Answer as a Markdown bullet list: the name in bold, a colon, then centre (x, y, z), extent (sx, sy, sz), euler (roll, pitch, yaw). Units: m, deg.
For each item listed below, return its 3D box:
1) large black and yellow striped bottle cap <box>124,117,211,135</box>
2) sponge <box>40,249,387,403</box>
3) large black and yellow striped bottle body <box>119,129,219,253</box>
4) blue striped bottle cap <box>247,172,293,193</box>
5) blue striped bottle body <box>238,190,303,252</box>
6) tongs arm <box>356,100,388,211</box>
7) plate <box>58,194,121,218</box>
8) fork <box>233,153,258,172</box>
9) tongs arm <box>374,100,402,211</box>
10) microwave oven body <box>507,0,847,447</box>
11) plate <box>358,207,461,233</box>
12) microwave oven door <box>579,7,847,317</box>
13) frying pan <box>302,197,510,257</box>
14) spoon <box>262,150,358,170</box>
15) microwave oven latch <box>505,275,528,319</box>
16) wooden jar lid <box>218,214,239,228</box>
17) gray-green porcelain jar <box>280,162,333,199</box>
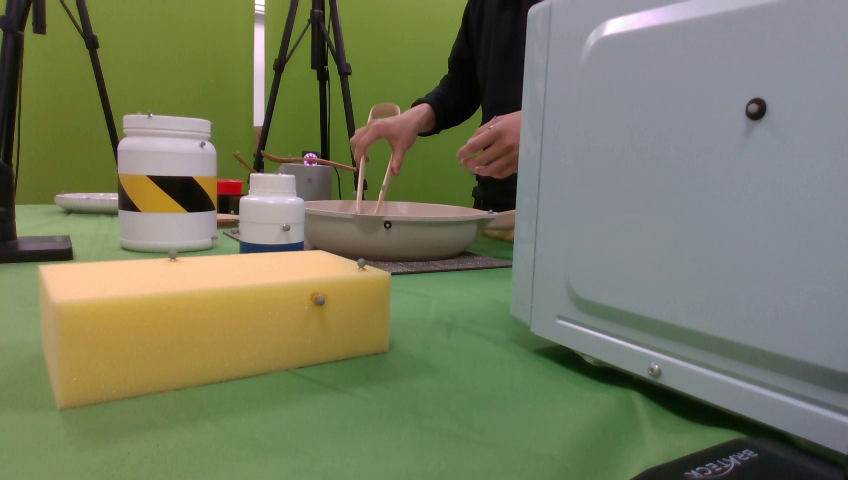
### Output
- **large black and yellow striped bottle cap**: centre (-0.366, -0.163, 0.866), extent (0.115, 0.019, 0.115), euler (3, 7, 0)
- **sponge**: centre (-0.142, 0.047, 0.420), extent (0.208, 0.061, 0.117), euler (-3, 8, -36)
- **large black and yellow striped bottle body**: centre (-0.367, -0.080, 0.876), extent (0.131, 0.184, 0.130), euler (1, 7, 0)
- **blue striped bottle cap**: centre (-0.152, -0.057, 0.598), extent (0.044, 0.020, 0.044), euler (3, 6, 0)
- **blue striped bottle body**: centre (-0.153, -0.007, 0.606), extent (0.063, 0.120, 0.063), euler (2, 8, 0)
- **tongs arm**: centre (-0.096, -0.158, 1.113), extent (0.028, 0.028, 0.387), euler (-4, 39, 6)
- **plate**: centre (-0.671, -0.074, 1.310), extent (0.209, 0.038, 0.209), euler (2, 8, 0)
- **fork**: centre (-0.396, -0.143, 1.486), extent (0.028, 0.018, 0.208), euler (20, -26, 45)
- **tongs arm**: centre (-0.076, -0.158, 1.112), extent (0.051, 0.026, 0.384), euler (2, 40, 8)
- **microwave oven body**: centre (0.331, -0.042, 0.425), extent (0.444, 0.260, 0.324), euler (-2, 8, -31)
- **plate**: centre (-0.030, -0.041, 1.213), extent (0.208, 0.039, 0.207), euler (3, 6, 0)
- **microwave oven door**: centre (0.294, -0.067, 0.570), extent (0.358, 0.243, 0.039), euler (-3, 9, -31)
- **frying pan**: centre (0.051, -0.035, 0.915), extent (0.487, 0.102, 0.307), euler (-5, 7, 11)
- **spoon**: centre (-0.229, -0.162, 1.222), extent (0.194, 0.021, 0.041), euler (3, 4, -16)
- **microwave oven latch**: centre (0.100, 0.041, 0.471), extent (0.079, 0.029, 0.030), euler (-1, 7, -28)
- **wooden jar lid**: centre (-0.404, -0.037, 1.169), extent (0.108, 0.020, 0.108), euler (3, 7, 0)
- **gray-green porcelain jar**: centre (-0.238, -0.092, 1.221), extent (0.106, 0.126, 0.106), euler (2, 7, 0)
